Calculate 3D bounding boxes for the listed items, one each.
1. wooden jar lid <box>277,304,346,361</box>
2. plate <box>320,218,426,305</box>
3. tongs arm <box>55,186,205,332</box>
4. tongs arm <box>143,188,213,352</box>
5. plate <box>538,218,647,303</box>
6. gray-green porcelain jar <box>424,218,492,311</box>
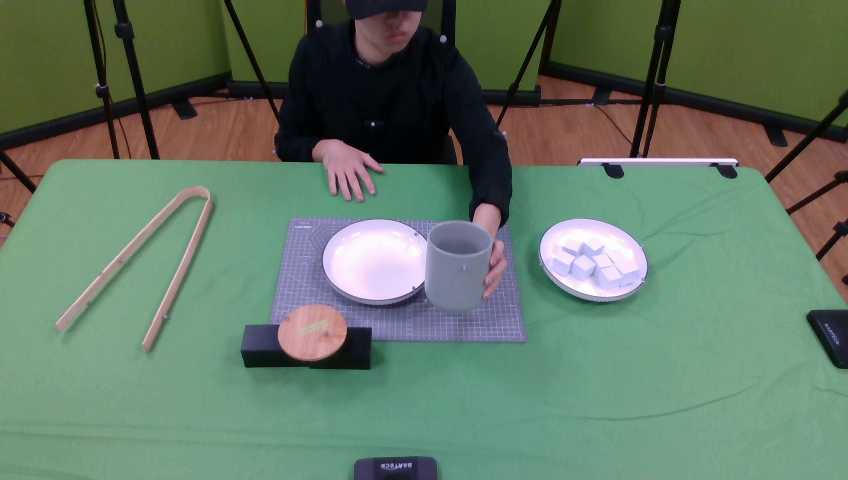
[{"bbox_3d":[-0.179,0.150,0.972,0.108,0.021,0.107,2,45,-2],"label":"wooden jar lid"},{"bbox_3d":[-0.089,0.044,1.134,0.209,0.038,0.208,3,46,-2],"label":"plate"},{"bbox_3d":[-0.530,0.022,1.125,0.051,0.026,0.383,15,46,8],"label":"tongs arm"},{"bbox_3d":[-0.449,0.040,1.122,0.028,0.028,0.385,2,46,1],"label":"tongs arm"},{"bbox_3d":[0.322,0.043,1.171,0.208,0.039,0.206,2,46,-2],"label":"plate"},{"bbox_3d":[0.053,0.045,0.994,0.106,0.127,0.105,2,34,-1],"label":"gray-green porcelain jar"}]
